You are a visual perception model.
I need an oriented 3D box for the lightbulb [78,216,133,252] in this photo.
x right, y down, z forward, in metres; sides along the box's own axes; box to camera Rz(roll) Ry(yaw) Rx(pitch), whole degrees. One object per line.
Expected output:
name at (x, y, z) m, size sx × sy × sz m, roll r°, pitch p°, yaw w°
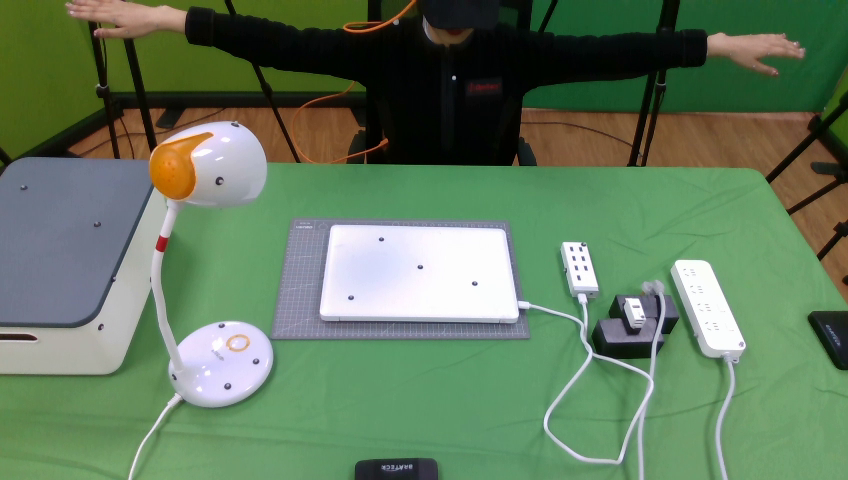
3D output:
lightbulb at (-0.599, -0.007, 1.134) m, size 0.107 × 0.060 × 0.059 m, roll -23°, pitch 48°, yaw 6°

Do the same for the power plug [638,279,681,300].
power plug at (0.434, 0.100, 1.118) m, size 0.073 × 0.053 × 0.035 m, roll 34°, pitch 37°, yaw -14°

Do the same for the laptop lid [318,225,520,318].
laptop lid at (-0.009, 0.052, 1.131) m, size 0.357 × 0.013 × 0.240 m, roll 2°, pitch 43°, yaw -2°

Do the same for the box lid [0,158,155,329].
box lid at (-0.598, -0.011, 0.964) m, size 0.263 × 0.015 × 0.369 m, roll 1°, pitch 45°, yaw -3°

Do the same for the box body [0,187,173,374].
box body at (-0.601, 0.039, 1.019) m, size 0.254 × 0.161 × 0.361 m, roll 1°, pitch 46°, yaw -3°

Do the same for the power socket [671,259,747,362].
power socket at (0.516, 0.119, 1.108) m, size 0.072 × 0.033 × 0.225 m, roll 1°, pitch 46°, yaw -2°

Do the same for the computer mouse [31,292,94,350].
computer mouse at (-0.602, 0.130, 1.009) m, size 0.063 × 0.041 × 0.116 m, roll -1°, pitch 42°, yaw -1°

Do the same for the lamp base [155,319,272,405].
lamp base at (-0.330, 0.149, 0.918) m, size 0.160 × 0.181 × 0.179 m, roll 26°, pitch 52°, yaw 20°

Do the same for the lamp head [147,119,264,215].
lamp head at (-0.276, -0.087, 0.740) m, size 0.112 × 0.112 × 0.123 m, roll 20°, pitch 23°, yaw 15°

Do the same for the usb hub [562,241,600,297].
usb hub at (0.300, 0.054, 1.162) m, size 0.049 × 0.025 × 0.124 m, roll 3°, pitch 46°, yaw -3°

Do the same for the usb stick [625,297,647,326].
usb stick at (0.360, 0.116, 1.034) m, size 0.021 × 0.027 × 0.059 m, roll -2°, pitch 44°, yaw -2°

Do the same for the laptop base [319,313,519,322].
laptop base at (-0.009, 0.062, 1.137) m, size 0.354 × 0.023 × 0.234 m, roll 1°, pitch 42°, yaw -3°
